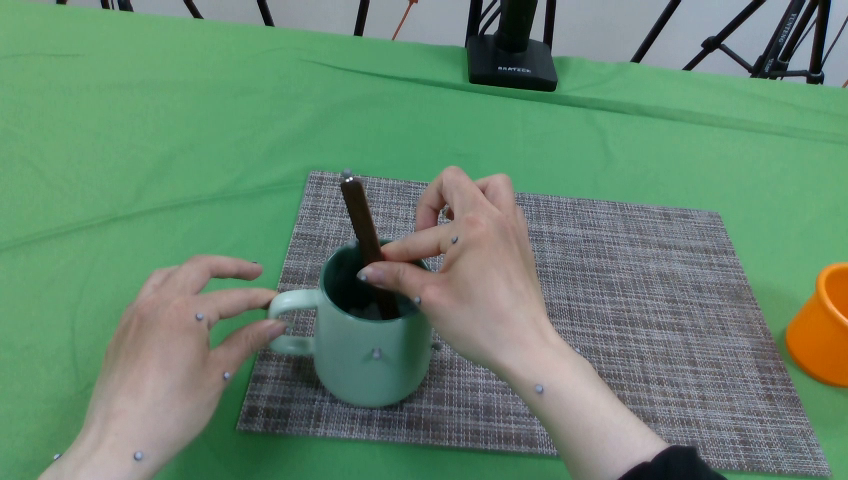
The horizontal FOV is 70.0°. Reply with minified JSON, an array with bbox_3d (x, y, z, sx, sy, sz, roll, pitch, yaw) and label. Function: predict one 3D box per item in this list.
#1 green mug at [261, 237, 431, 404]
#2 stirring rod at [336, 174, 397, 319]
[{"bbox_3d":[-0.056,0.062,0.448,0.125,0.106,0.091,-2,46,-10],"label":"green mug"},{"bbox_3d":[-0.033,0.028,0.420,0.014,0.178,0.005,-8,41,4],"label":"stirring rod"}]
